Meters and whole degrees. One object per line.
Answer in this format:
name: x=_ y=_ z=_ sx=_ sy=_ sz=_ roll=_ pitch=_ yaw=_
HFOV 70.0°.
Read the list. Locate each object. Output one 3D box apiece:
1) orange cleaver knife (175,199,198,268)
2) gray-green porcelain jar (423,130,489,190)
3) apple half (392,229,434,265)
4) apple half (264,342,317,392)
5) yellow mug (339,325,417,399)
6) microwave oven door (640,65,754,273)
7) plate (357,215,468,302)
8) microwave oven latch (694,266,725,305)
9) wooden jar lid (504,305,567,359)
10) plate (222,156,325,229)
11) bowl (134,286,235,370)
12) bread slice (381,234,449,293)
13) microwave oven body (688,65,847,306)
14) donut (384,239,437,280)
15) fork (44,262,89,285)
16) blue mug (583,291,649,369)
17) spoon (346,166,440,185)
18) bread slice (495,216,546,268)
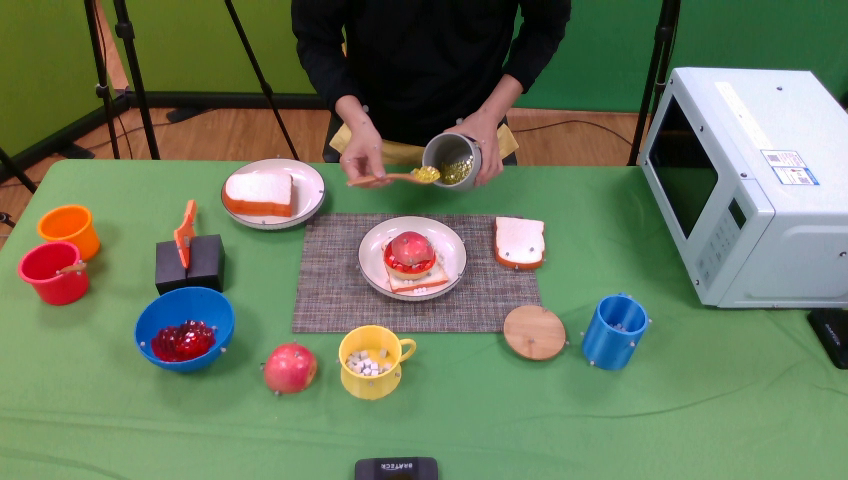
orange cleaver knife: x=-0.438 y=-0.017 z=1.138 sx=0.012 sy=0.077 sz=0.210 roll=-14 pitch=27 yaw=-7
gray-green porcelain jar: x=0.068 y=-0.154 z=1.189 sx=0.105 sy=0.106 sz=0.127 roll=24 pitch=9 yaw=18
apple half: x=-0.020 y=0.005 z=1.083 sx=0.081 sy=0.033 sz=0.081 roll=7 pitch=48 yaw=-7
apple half: x=-0.214 y=0.198 z=0.970 sx=0.074 sy=0.053 sz=0.080 roll=19 pitch=48 yaw=10
yellow mug: x=-0.072 y=0.190 z=0.978 sx=0.131 sy=0.064 sz=0.099 roll=-17 pitch=50 yaw=-20
microwave oven door: x=0.523 y=-0.147 z=1.193 sx=0.039 sy=0.245 sz=0.353 roll=0 pitch=47 yaw=-3
plate: x=-0.022 y=0.037 z=1.141 sx=0.208 sy=0.039 sz=0.206 roll=2 pitch=46 yaw=-2
microwave oven latch: x=0.523 y=0.082 z=1.115 sx=0.030 sy=0.029 sz=0.078 roll=3 pitch=46 yaw=0
wooden jar lid: x=0.192 y=0.161 z=1.051 sx=0.108 sy=0.021 sz=0.107 roll=2 pitch=50 yaw=-3
plate: x=-0.308 y=-0.095 z=1.251 sx=0.209 sy=0.038 sz=0.208 roll=2 pitch=47 yaw=-2
bowl: x=-0.377 y=0.155 z=0.981 sx=0.151 sy=0.077 sz=0.150 roll=2 pitch=46 yaw=-2
bread slice: x=-0.027 y=0.041 z=1.142 sx=0.107 sy=0.018 sz=0.133 roll=-12 pitch=51 yaw=-16
microwave oven body: x=0.669 y=-0.111 z=1.176 sx=0.326 sy=0.261 sz=0.439 roll=0 pitch=46 yaw=-3
donut: x=-0.025 y=0.030 z=1.109 sx=0.099 sy=0.048 sz=0.098 roll=2 pitch=46 yaw=-2
fork: x=-0.598 y=0.054 z=1.014 sx=0.207 sy=0.019 sz=0.028 roll=-15 pitch=29 yaw=45
blue mug: x=0.324 y=0.142 z=1.023 sx=0.082 sy=0.106 sz=0.116 roll=15 pitch=47 yaw=11
spoon: x=-0.052 y=-0.112 z=1.055 sx=0.194 sy=0.022 sz=0.041 roll=-8 pitch=45 yaw=-38
bread slice: x=0.194 y=0.002 z=1.204 sx=0.105 sy=0.019 sz=0.131 roll=5 pitch=45 yaw=2
